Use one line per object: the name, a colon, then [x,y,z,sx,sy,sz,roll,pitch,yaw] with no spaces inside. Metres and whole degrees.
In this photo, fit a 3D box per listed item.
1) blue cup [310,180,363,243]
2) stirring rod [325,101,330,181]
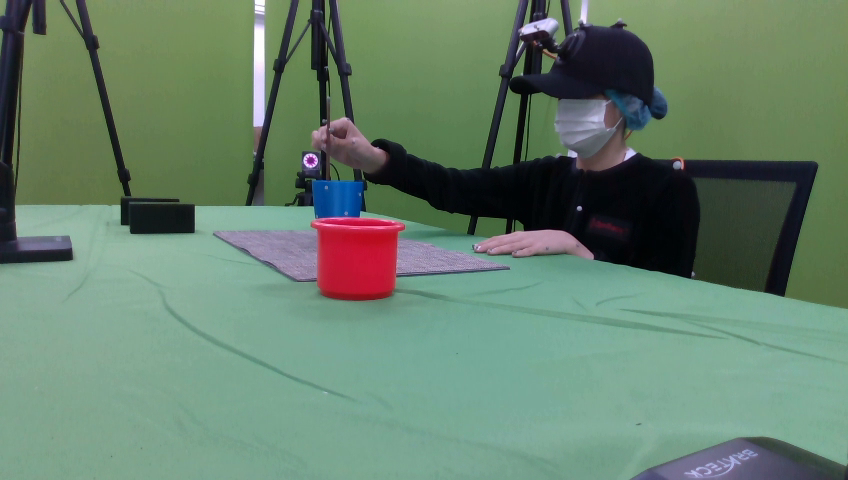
blue cup: [-0.145,-0.047,0.997,0.093,0.100,0.092,2,6,0]
stirring rod: [-0.157,-0.138,0.985,0.006,0.176,0.014,1,2,-15]
